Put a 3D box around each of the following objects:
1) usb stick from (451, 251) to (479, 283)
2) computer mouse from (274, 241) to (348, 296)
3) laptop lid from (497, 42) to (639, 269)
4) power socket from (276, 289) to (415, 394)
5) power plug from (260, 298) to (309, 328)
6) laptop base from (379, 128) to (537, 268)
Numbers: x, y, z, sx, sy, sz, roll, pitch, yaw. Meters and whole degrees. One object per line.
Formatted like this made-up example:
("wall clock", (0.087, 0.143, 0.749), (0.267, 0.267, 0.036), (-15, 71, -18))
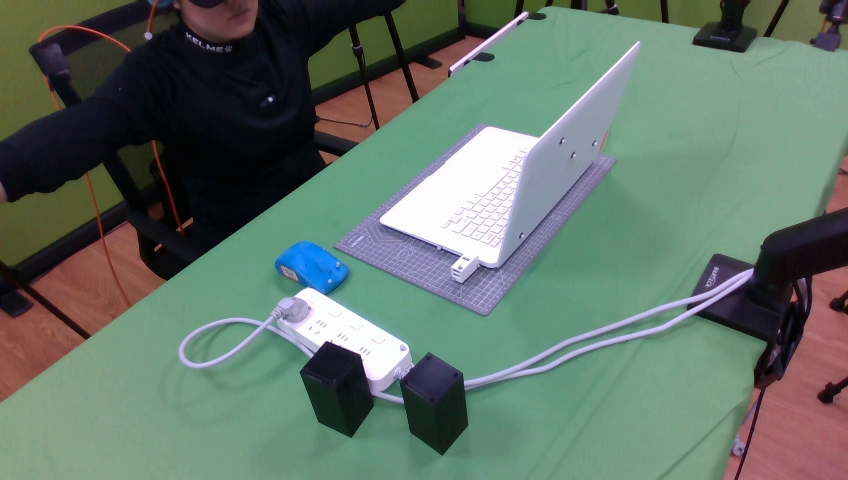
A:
("usb stick", (0.066, 0.036, 0.899), (0.021, 0.027, 0.059), (22, 45, 32))
("computer mouse", (-0.175, 0.040, 0.936), (0.116, 0.041, 0.063), (27, 48, 27))
("laptop lid", (0.221, -0.130, 0.912), (0.013, 0.242, 0.357), (31, 51, 21))
("power socket", (-0.114, 0.133, 0.820), (0.225, 0.033, 0.072), (25, 49, 33))
("power plug", (-0.193, 0.107, 0.831), (0.073, 0.053, 0.035), (-31, 43, -25))
("laptop base", (0.118, -0.088, 1.058), (0.233, 0.023, 0.355), (19, 47, 32))
